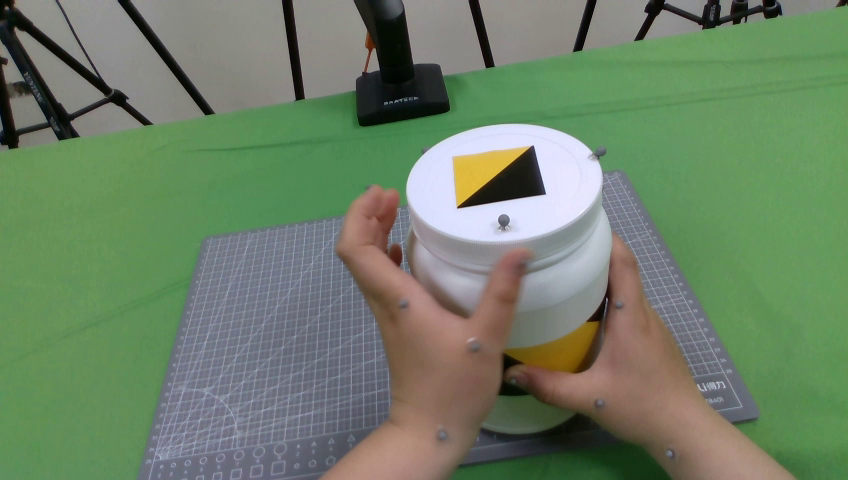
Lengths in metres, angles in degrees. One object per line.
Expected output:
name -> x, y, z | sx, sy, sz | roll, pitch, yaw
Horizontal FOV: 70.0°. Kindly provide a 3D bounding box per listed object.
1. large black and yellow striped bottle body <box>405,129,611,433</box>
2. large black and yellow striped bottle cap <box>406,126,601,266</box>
large black and yellow striped bottle body -> 0.058, 0.031, 0.415 | 0.130, 0.186, 0.129 | -6, 43, 6
large black and yellow striped bottle cap -> 0.046, -0.030, 0.358 | 0.115, 0.019, 0.114 | -6, 41, 6
